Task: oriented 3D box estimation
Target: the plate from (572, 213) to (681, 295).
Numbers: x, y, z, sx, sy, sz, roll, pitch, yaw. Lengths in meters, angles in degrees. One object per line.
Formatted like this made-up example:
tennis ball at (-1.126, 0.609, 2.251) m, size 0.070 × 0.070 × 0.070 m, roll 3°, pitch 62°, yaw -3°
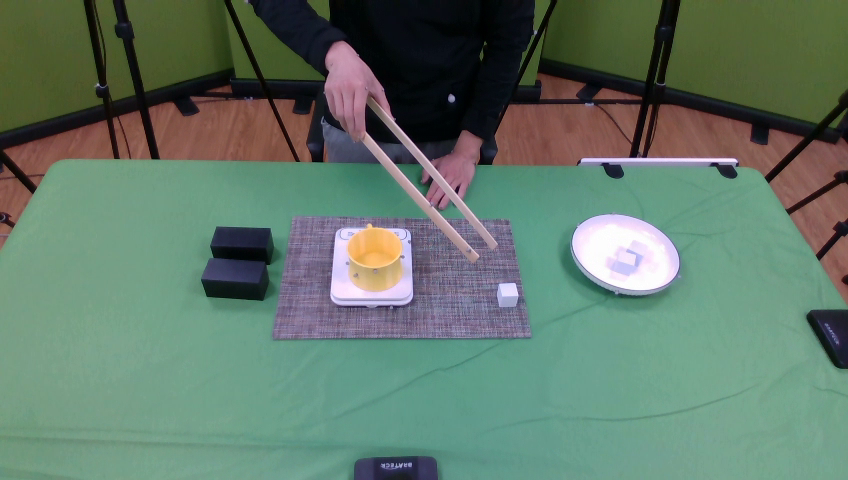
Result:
plate at (0.392, 0.030, 1.189) m, size 0.208 × 0.039 × 0.206 m, roll 2°, pitch 46°, yaw -2°

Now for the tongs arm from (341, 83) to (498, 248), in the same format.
tongs arm at (-0.008, -0.132, 1.036) m, size 0.028 × 0.028 × 0.386 m, roll -37°, pitch 79°, yaw -26°

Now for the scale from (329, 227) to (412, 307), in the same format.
scale at (-0.099, 0.042, 1.139) m, size 0.149 × 0.032 × 0.199 m, roll 1°, pitch 46°, yaw -4°

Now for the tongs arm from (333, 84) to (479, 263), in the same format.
tongs arm at (-0.031, -0.116, 1.021) m, size 0.384 × 0.026 × 0.051 m, roll 46°, pitch 60°, yaw 9°

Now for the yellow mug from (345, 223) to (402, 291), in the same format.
yellow mug at (-0.092, 0.022, 1.093) m, size 0.100 × 0.064 × 0.130 m, roll -7°, pitch 46°, yaw -10°
